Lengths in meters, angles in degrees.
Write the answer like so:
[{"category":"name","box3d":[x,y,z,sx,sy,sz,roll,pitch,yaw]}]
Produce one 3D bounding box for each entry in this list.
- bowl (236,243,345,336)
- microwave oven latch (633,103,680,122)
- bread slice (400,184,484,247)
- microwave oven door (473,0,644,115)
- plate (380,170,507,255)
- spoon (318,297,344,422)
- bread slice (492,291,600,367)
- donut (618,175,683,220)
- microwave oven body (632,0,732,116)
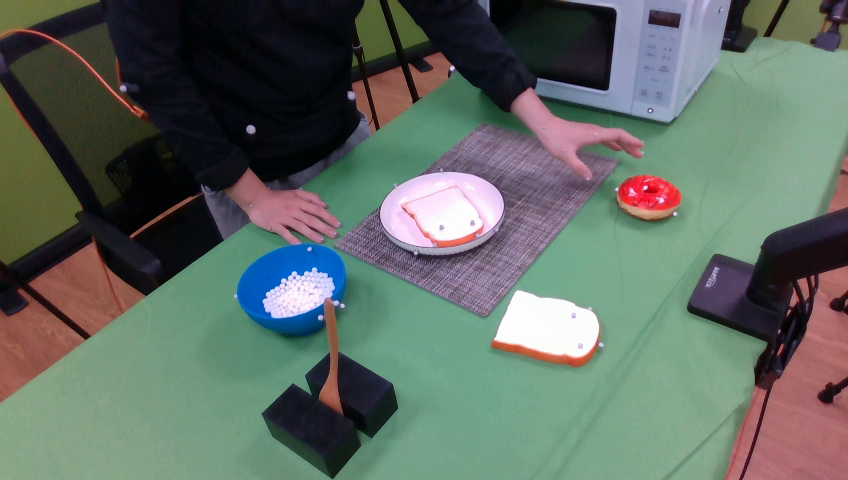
[{"category":"bowl","box3d":[-0.180,0.082,0.855,0.151,0.077,0.150,-4,41,4]},{"category":"microwave oven latch","box3d":[0.444,-0.249,1.157,0.078,0.029,0.030,21,49,30]},{"category":"bread slice","box3d":[0.037,-0.038,0.990,0.107,0.018,0.133,-23,43,-17]},{"category":"microwave oven door","box3d":[0.257,-0.396,1.199,0.353,0.245,0.039,21,48,29]},{"category":"plate","box3d":[0.033,-0.042,0.995,0.207,0.039,0.206,-4,40,4]},{"category":"spoon","box3d":[-0.107,0.139,0.687,0.041,0.194,0.022,27,37,31]},{"category":"bread slice","box3d":[0.169,0.118,0.811,0.131,0.019,0.105,11,44,21]},{"category":"donut","box3d":[0.366,-0.069,0.982,0.099,0.048,0.098,-3,38,3]},{"category":"microwave oven body","box3d":[0.377,-0.463,1.267,0.438,0.261,0.327,21,49,30]}]
